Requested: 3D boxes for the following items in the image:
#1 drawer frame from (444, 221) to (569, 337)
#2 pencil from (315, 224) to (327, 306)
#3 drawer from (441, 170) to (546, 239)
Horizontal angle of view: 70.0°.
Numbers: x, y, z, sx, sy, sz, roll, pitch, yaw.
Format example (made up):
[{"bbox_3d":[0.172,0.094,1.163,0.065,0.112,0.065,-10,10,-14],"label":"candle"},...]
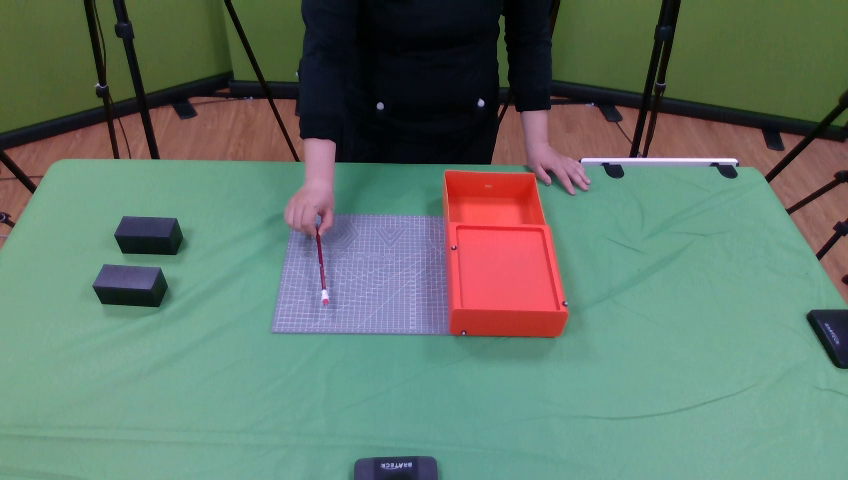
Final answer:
[{"bbox_3d":[0.141,0.067,1.097,0.202,0.083,0.212,2,46,-4],"label":"drawer frame"},{"bbox_3d":[-0.191,0.040,1.109,0.012,0.012,0.192,-6,50,-10],"label":"pencil"},{"bbox_3d":[0.137,-0.047,1.215,0.195,0.073,0.210,2,44,-4],"label":"drawer"}]
